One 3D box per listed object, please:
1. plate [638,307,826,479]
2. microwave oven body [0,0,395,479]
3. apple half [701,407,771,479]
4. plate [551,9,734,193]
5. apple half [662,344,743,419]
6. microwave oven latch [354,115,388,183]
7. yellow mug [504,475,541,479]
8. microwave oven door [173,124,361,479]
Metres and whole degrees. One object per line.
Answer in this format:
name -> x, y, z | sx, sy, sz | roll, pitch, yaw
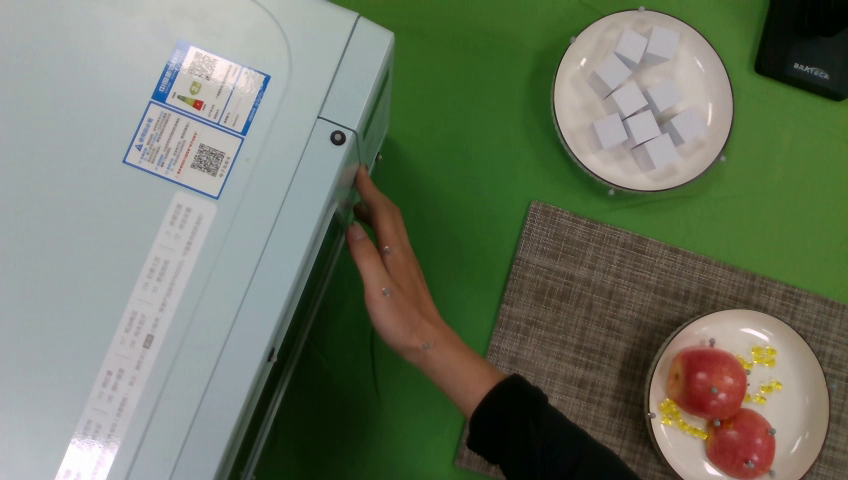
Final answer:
plate -> 0.332, 0.176, 0.666 | 0.209, 0.038, 0.208 | 0, 86, -5
microwave oven body -> -0.256, 0.001, 0.514 | 0.326, 0.260, 0.441 | 21, 85, -4
apple half -> 0.343, 0.222, 0.657 | 0.081, 0.033, 0.081 | 1, 82, -5
plate -> 0.243, -0.154, 0.686 | 0.208, 0.039, 0.207 | 0, 86, -5
apple half -> 0.302, 0.152, 0.650 | 0.075, 0.053, 0.080 | 16, 85, -1
microwave oven latch -> -0.063, -0.101, 0.635 | 0.030, 0.029, 0.079 | 23, 85, -3
yellow mug -> 0.100, 0.317, 0.624 | 0.100, 0.064, 0.130 | 30, 87, -3
microwave oven door -> -0.136, 0.093, 0.513 | 0.039, 0.244, 0.355 | 21, 84, -3
